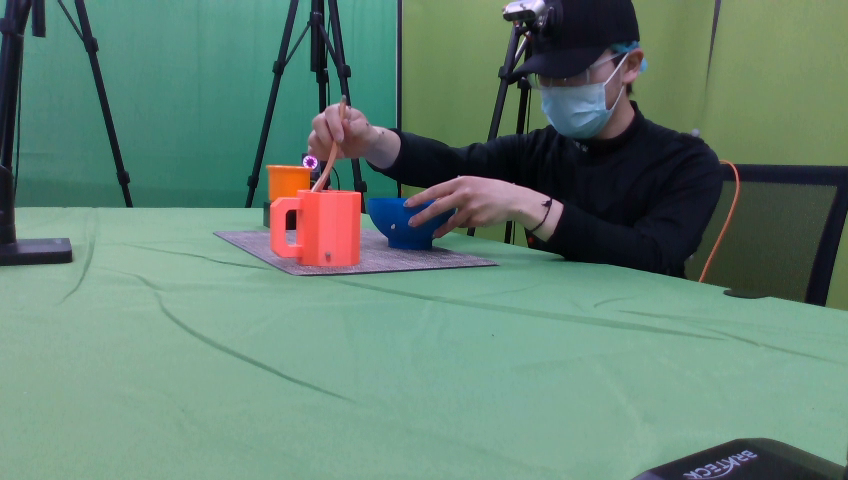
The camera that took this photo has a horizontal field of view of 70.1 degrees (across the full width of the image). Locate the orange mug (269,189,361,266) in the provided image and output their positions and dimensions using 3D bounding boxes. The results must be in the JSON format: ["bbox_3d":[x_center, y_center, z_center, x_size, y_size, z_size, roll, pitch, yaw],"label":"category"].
[{"bbox_3d":[-0.143,-0.019,0.796,0.127,0.100,0.083,3,5,-39],"label":"orange mug"}]

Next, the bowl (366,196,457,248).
[{"bbox_3d":[-0.022,-0.029,1.000,0.151,0.077,0.151,2,7,0],"label":"bowl"}]

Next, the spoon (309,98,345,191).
[{"bbox_3d":[-0.132,-0.105,0.822,0.021,0.193,0.041,14,-14,8],"label":"spoon"}]
